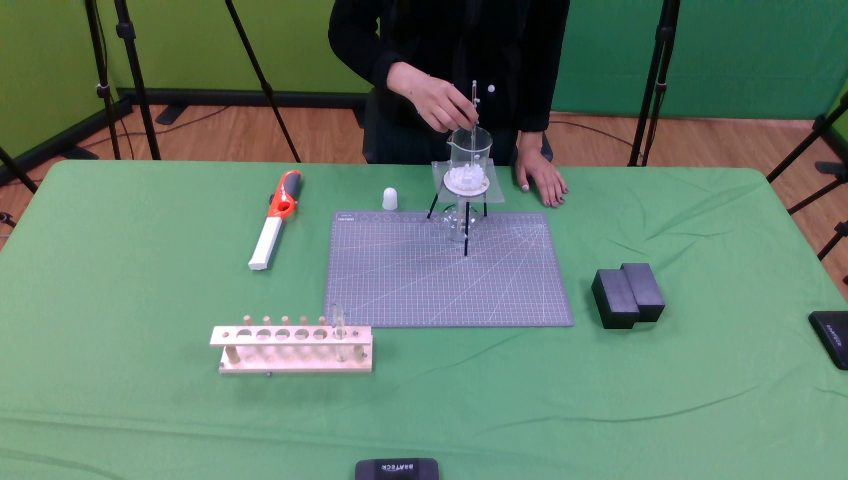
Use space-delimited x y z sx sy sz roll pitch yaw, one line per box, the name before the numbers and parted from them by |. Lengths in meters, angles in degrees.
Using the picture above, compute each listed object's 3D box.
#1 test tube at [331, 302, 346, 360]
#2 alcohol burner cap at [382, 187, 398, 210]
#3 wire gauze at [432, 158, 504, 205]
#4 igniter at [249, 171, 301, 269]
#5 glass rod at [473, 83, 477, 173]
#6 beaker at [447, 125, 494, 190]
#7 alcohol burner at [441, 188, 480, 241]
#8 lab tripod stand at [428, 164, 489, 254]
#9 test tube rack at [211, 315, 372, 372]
test tube | -0.132 0.144 0.938 0.017 0.151 0.017 2 49 -3
alcohol burner cap | -0.072 -0.090 1.266 0.034 0.048 0.033 3 47 -3
wire gauze | 0.081 -0.111 1.138 0.125 0.011 0.120 0 48 -7
igniter | -0.297 -0.049 1.221 0.057 0.025 0.275 -2 45 9
glass rod | 0.092 -0.194 1.076 0.008 0.201 0.008 -2 49 3
beaker | 0.080 -0.147 1.106 0.084 0.101 0.073 -3 47 -7
alcohol burner | 0.073 -0.055 1.189 0.078 0.120 0.077 1 48 -1
lab tripod stand | 0.078 -0.068 1.188 0.148 0.132 0.147 3 47 -3
test tube rack | -0.207 0.164 0.982 0.242 0.085 0.066 1 46 -4
